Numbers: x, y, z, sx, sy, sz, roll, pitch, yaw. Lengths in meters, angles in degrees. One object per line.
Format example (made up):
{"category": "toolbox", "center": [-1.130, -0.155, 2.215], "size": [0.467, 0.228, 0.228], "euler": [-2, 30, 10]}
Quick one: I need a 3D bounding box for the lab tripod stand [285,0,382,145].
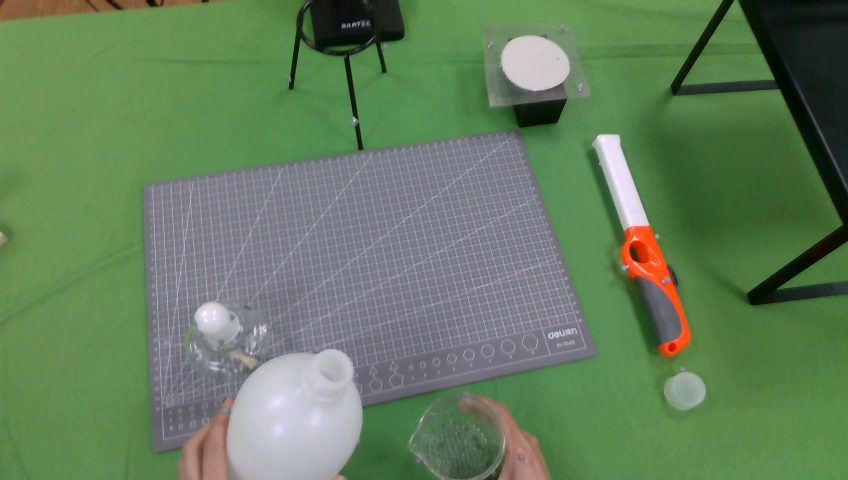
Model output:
{"category": "lab tripod stand", "center": [-0.098, -0.205, 0.706], "size": [0.148, 0.132, 0.147], "euler": [3, 65, -5]}

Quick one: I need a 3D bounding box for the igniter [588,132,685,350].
{"category": "igniter", "center": [0.242, -0.007, 0.697], "size": [0.057, 0.025, 0.274], "euler": [-2, 64, -17]}

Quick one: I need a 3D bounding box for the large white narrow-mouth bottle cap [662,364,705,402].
{"category": "large white narrow-mouth bottle cap", "center": [0.268, 0.148, 0.629], "size": [0.038, 0.024, 0.037], "euler": [2, 63, -3]}

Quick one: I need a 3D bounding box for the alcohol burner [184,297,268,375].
{"category": "alcohol burner", "center": [-0.188, 0.084, 0.567], "size": [0.078, 0.120, 0.077], "euler": [3, 62, -5]}

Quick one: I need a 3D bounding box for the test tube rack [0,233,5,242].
{"category": "test tube rack", "center": [-0.546, 0.045, 0.575], "size": [0.066, 0.086, 0.241], "euler": [35, 67, 12]}

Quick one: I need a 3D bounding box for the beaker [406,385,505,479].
{"category": "beaker", "center": [0.027, 0.181, 0.548], "size": [0.084, 0.101, 0.073], "euler": [-8, 63, -3]}

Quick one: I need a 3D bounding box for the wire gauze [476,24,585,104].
{"category": "wire gauze", "center": [0.128, -0.221, 0.747], "size": [0.121, 0.011, 0.124], "euler": [-3, 64, -6]}

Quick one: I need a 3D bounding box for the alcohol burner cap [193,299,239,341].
{"category": "alcohol burner cap", "center": [-0.186, 0.069, 0.534], "size": [0.034, 0.048, 0.033], "euler": [1, 70, -2]}

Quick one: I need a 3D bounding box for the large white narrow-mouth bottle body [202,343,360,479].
{"category": "large white narrow-mouth bottle body", "center": [-0.106, 0.145, 0.476], "size": [0.102, 0.195, 0.101], "euler": [19, 42, -17]}
